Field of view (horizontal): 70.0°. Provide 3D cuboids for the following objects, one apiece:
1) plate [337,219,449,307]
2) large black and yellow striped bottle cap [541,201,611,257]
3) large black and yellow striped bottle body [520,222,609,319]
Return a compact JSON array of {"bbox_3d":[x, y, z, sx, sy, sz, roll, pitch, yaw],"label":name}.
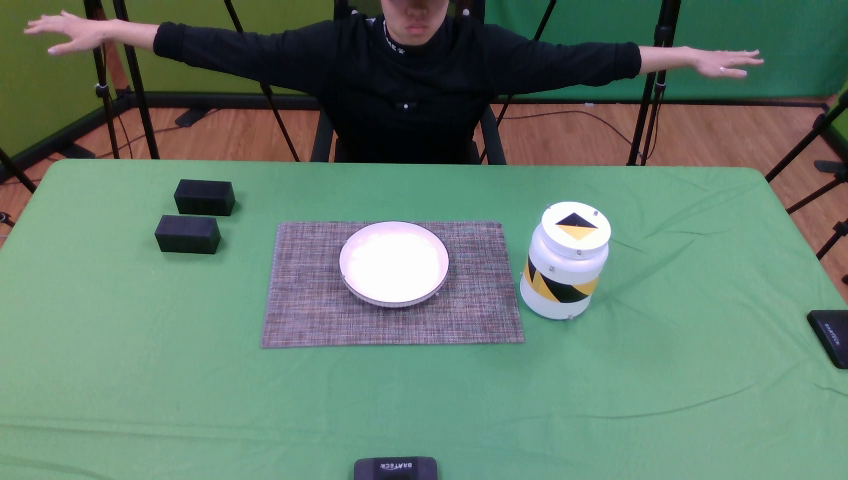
[{"bbox_3d":[-0.057,0.045,1.133,0.208,0.039,0.206,2,46,-2],"label":"plate"},{"bbox_3d":[0.252,-0.021,1.004,0.115,0.019,0.114,1,47,-1],"label":"large black and yellow striped bottle cap"},{"bbox_3d":[0.247,0.038,1.065,0.131,0.185,0.130,2,46,-2],"label":"large black and yellow striped bottle body"}]
